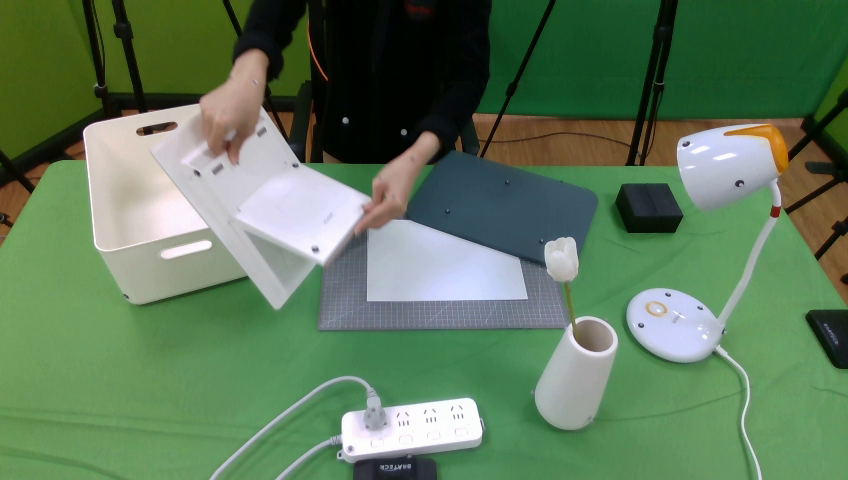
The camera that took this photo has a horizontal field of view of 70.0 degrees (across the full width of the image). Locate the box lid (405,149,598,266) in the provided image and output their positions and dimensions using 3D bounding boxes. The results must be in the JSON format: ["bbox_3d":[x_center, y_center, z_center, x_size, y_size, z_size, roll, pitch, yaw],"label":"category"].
[{"bbox_3d":[0.171,-0.073,1.289,0.371,0.015,0.262,19,47,14],"label":"box lid"}]

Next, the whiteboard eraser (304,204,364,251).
[{"bbox_3d":[-0.175,-0.022,1.187,0.055,0.042,0.112,36,53,26],"label":"whiteboard eraser"}]

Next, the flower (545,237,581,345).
[{"bbox_3d":[0.213,0.137,0.846,0.038,0.364,0.044,21,55,40],"label":"flower"}]

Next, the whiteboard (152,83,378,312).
[{"bbox_3d":[-0.206,-0.076,0.919,0.143,0.307,0.216,-9,34,37],"label":"whiteboard"}]

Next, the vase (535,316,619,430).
[{"bbox_3d":[0.229,0.200,0.901,0.098,0.201,0.097,3,46,-3],"label":"vase"}]

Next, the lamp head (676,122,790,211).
[{"bbox_3d":[0.423,-0.104,0.819,0.122,0.113,0.112,-13,33,40],"label":"lamp head"}]

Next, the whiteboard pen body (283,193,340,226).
[{"bbox_3d":[-0.230,-0.061,1.243,0.141,0.017,0.017,-32,56,-30],"label":"whiteboard pen body"}]

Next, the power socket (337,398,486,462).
[{"bbox_3d":[-0.018,0.285,0.914,0.227,0.033,0.071,-4,46,-8],"label":"power socket"}]

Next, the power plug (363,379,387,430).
[{"bbox_3d":[-0.072,0.252,0.911,0.035,0.053,0.072,3,40,-1],"label":"power plug"}]

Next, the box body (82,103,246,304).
[{"bbox_3d":[-0.465,-0.077,1.137,0.254,0.161,0.361,-16,50,-19],"label":"box body"}]

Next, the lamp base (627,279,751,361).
[{"bbox_3d":[0.460,0.100,1.027,0.178,0.181,0.160,27,51,17],"label":"lamp base"}]

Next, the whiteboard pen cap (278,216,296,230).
[{"bbox_3d":[-0.273,-0.034,1.213,0.033,0.018,0.018,-32,56,-31],"label":"whiteboard pen cap"}]
